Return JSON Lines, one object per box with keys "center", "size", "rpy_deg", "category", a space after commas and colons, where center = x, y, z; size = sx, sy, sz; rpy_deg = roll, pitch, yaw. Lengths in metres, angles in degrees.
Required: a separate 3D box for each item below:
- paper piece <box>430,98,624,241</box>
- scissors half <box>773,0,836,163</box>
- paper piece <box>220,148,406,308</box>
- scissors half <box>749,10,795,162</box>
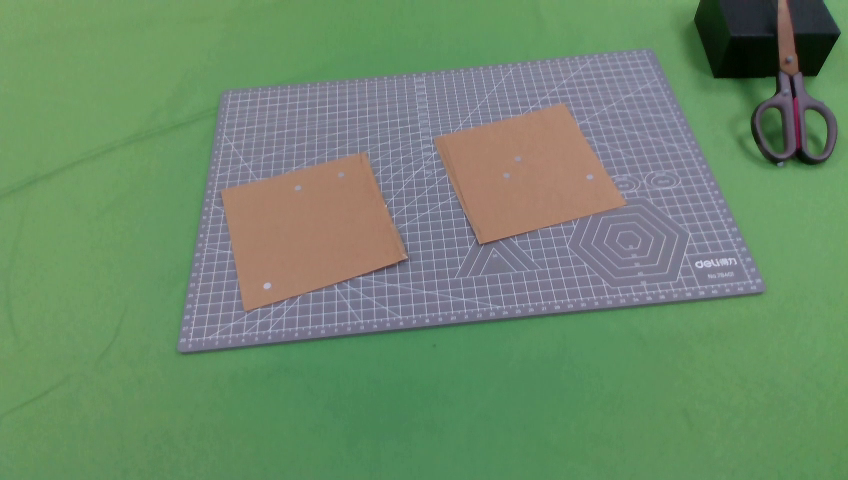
{"center": [0.088, -0.068, 0.543], "size": [0.136, 0.004, 0.134], "rpy_deg": [-15, 56, -7], "category": "paper piece"}
{"center": [0.340, -0.154, 0.552], "size": [0.040, 0.013, 0.174], "rpy_deg": [-6, 77, 0], "category": "scissors half"}
{"center": [-0.100, -0.018, 0.519], "size": [0.138, 0.009, 0.134], "rpy_deg": [-18, 51, -7], "category": "paper piece"}
{"center": [0.320, -0.154, 0.552], "size": [0.040, 0.013, 0.174], "rpy_deg": [12, 77, -1], "category": "scissors half"}
